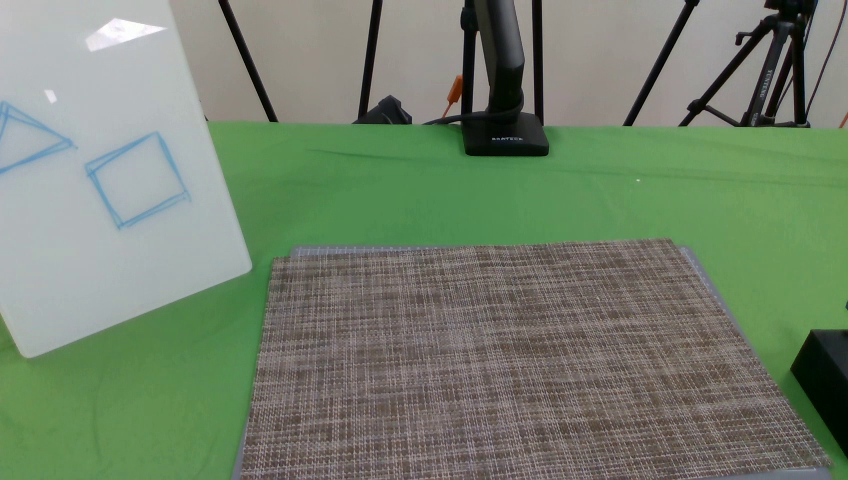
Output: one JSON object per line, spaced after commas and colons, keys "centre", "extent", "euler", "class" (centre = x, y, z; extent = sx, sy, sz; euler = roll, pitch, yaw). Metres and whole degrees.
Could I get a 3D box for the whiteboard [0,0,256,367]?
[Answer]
{"centre": [-0.329, -0.079, 0.584], "extent": [0.217, 0.307, 0.142], "euler": [-24, 24, -29], "class": "whiteboard"}
